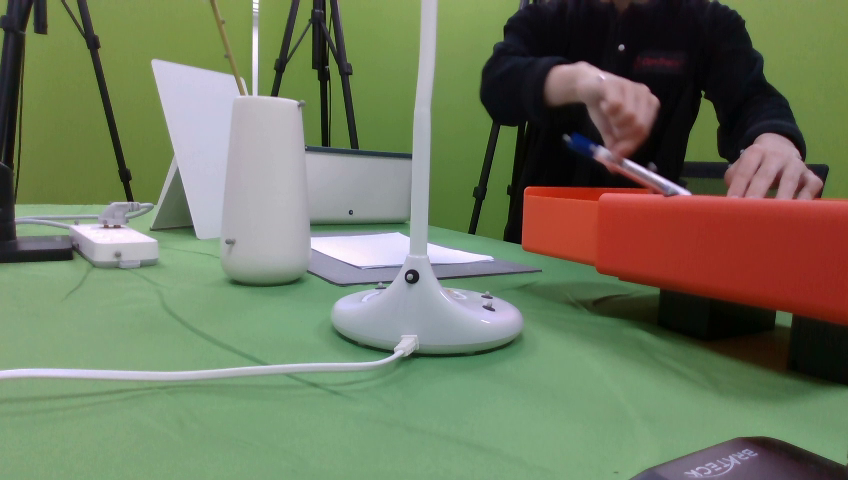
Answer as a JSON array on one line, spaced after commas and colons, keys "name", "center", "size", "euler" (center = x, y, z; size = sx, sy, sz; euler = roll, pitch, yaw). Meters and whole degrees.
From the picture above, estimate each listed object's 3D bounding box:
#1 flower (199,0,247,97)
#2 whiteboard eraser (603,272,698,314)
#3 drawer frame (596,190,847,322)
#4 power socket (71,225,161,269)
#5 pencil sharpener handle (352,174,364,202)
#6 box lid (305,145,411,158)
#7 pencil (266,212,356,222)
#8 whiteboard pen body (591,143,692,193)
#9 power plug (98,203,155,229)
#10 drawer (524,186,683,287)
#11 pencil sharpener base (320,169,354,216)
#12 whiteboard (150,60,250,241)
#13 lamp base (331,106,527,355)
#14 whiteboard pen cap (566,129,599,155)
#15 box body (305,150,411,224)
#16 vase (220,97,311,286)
[{"name": "flower", "center": [-0.187, -0.133, 0.648], "size": [0.038, 0.362, 0.044], "euler": [-1, 21, 42]}, {"name": "whiteboard eraser", "center": [0.200, 0.026, 0.574], "size": [0.056, 0.042, 0.112], "euler": [6, 30, -50]}, {"name": "drawer frame", "center": [0.292, 0.002, 0.504], "size": [0.203, 0.082, 0.212], "euler": [-1, 6, -30]}, {"name": "power socket", "center": [-0.408, 0.004, 0.793], "size": [0.072, 0.032, 0.225], "euler": [-2, 8, -38]}, {"name": "pencil sharpener handle", "center": [-0.157, -0.125, 1.450], "size": [0.031, 0.068, 0.036], "euler": [2, 19, -11]}, {"name": "box lid", "center": [-0.228, -0.200, 1.361], "size": [0.373, 0.015, 0.262], "euler": [-1, 8, -33]}, {"name": "pencil", "center": [-0.244, -0.049, 1.319], "size": [0.195, 0.012, 0.012], "euler": [4, 7, -12]}, {"name": "whiteboard pen body", "center": [0.223, -0.077, 0.648], "size": [0.140, 0.017, 0.017], "euler": [30, 13, 9]}, {"name": "power plug", "center": [-0.416, -0.026, 0.848], "size": [0.073, 0.052, 0.035], "euler": [1, 7, -28]}, {"name": "drawer", "center": [0.238, -0.010, 0.599], "size": [0.195, 0.073, 0.210], "euler": [-1, 9, -29]}, {"name": "pencil sharpener base", "center": [-0.207, -0.113, 1.438], "size": [0.077, 0.107, 0.061], "euler": [2, 6, -11]}, {"name": "whiteboard", "center": [-0.408, -0.139, 1.093], "size": [0.143, 0.305, 0.218], "euler": [-15, -1, 26]}, {"name": "lamp base", "center": [0.006, -0.012, 0.478], "size": [0.161, 0.180, 0.179], "euler": [2, 10, 2]}, {"name": "whiteboard pen cap", "center": [0.172, -0.105, 0.656], "size": [0.033, 0.018, 0.018], "euler": [30, 13, 9]}, {"name": "box body", "center": [-0.230, -0.126, 1.371], "size": [0.366, 0.160, 0.253], "euler": [-2, 8, -33]}, {"name": "vase", "center": [-0.172, -0.052, 0.662], "size": [0.098, 0.200, 0.098], "euler": [3, 8, 0]}]
